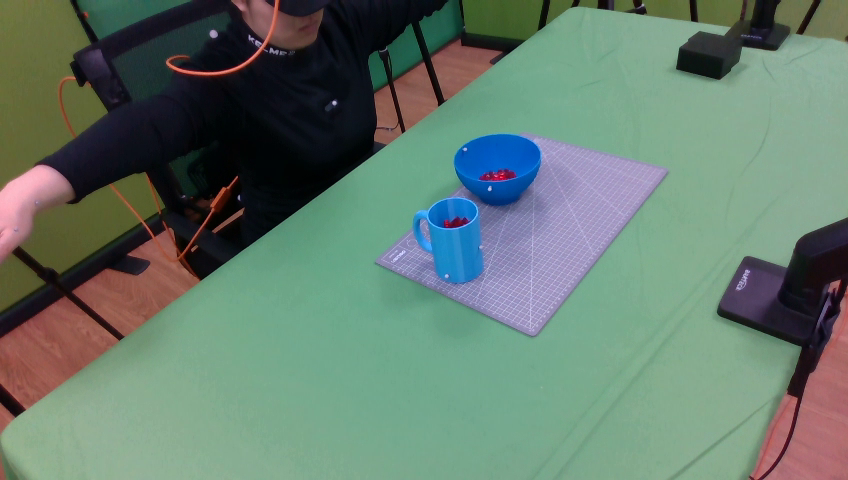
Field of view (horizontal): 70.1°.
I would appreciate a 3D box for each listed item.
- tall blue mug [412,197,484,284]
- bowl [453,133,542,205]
[{"bbox_3d":[0.033,0.002,0.903,0.107,0.108,0.077,-3,41,9],"label":"tall blue mug"},{"bbox_3d":[0.129,-0.113,1.045,0.151,0.077,0.150,-5,40,5],"label":"bowl"}]
